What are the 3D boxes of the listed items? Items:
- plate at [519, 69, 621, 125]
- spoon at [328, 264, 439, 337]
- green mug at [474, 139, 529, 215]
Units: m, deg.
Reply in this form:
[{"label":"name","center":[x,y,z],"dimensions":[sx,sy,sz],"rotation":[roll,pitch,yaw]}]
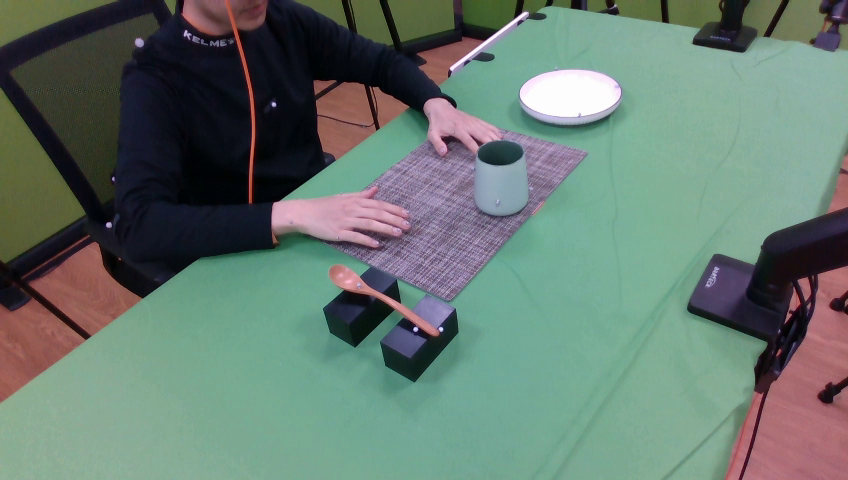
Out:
[{"label":"plate","center":[0.300,-0.293,1.253],"dimensions":[0.209,0.038,0.208],"rotation":[-4,41,4]},{"label":"spoon","center":[-0.056,0.079,0.807],"dimensions":[0.192,0.021,0.042],"rotation":[25,33,32]},{"label":"green mug","center":[0.126,-0.113,1.013],"dimensions":[0.092,0.105,0.124],"rotation":[-8,41,0]}]
